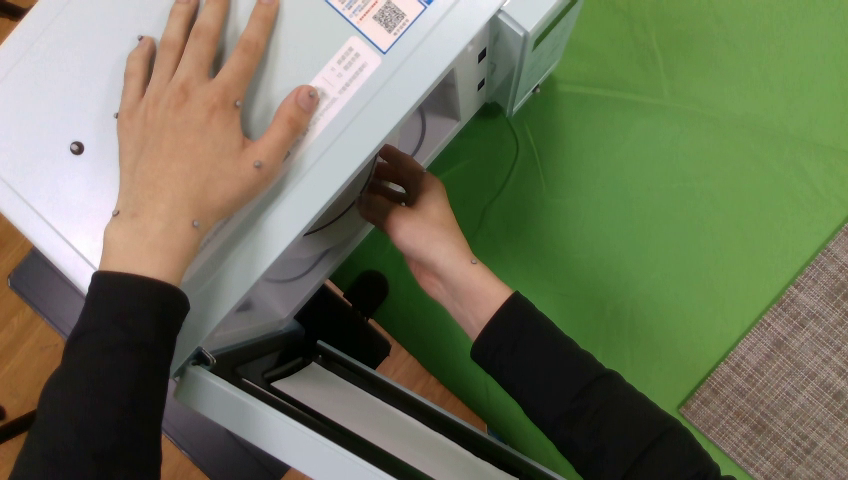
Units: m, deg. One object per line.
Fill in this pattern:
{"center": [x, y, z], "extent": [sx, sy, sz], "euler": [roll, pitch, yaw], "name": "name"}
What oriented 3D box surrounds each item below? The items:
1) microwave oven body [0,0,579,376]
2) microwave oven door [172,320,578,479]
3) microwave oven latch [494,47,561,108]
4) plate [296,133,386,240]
{"center": [-0.128, -0.149, 0.563], "extent": [0.325, 0.260, 0.441], "euler": [42, 93, 4], "name": "microwave oven body"}
{"center": [-0.012, 0.182, 0.541], "extent": [0.355, 0.244, 0.039], "euler": [27, 91, 5], "name": "microwave oven door"}
{"center": [0.109, -0.179, 0.641], "extent": [0.030, 0.029, 0.079], "euler": [44, 93, 4], "name": "microwave oven latch"}
{"center": [-0.138, -0.102, 0.618], "extent": [0.209, 0.038, 0.209], "euler": [0, 89, 6], "name": "plate"}
